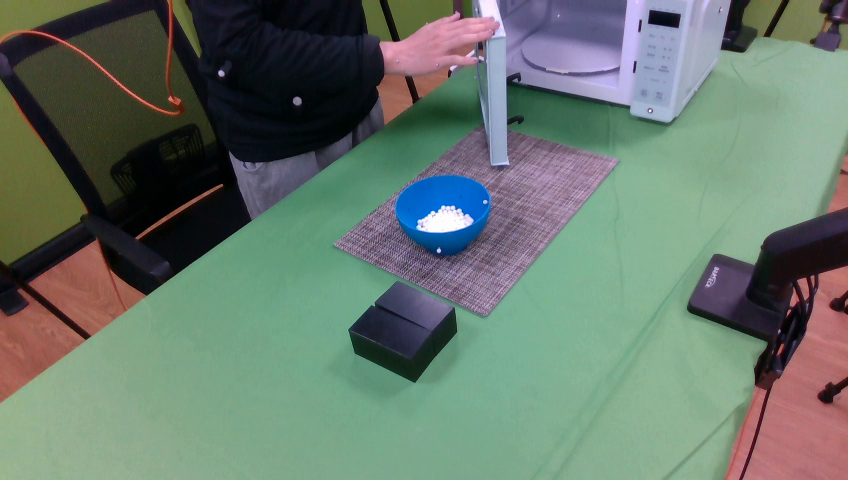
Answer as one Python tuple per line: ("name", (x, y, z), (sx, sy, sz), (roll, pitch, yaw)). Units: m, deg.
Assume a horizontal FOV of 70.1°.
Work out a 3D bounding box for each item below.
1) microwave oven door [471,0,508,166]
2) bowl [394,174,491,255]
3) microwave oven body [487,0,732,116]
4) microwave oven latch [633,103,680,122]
("microwave oven door", (0.122, -0.340, 1.153), (0.039, 0.245, 0.354), (-5, 40, 3))
("bowl", (0.032, -0.030, 0.949), (0.151, 0.077, 0.150), (-4, 40, 4))
("microwave oven body", (0.377, -0.462, 1.267), (0.438, 0.261, 0.327), (21, 48, 30))
("microwave oven latch", (0.443, -0.249, 1.157), (0.078, 0.029, 0.030), (21, 49, 30))
